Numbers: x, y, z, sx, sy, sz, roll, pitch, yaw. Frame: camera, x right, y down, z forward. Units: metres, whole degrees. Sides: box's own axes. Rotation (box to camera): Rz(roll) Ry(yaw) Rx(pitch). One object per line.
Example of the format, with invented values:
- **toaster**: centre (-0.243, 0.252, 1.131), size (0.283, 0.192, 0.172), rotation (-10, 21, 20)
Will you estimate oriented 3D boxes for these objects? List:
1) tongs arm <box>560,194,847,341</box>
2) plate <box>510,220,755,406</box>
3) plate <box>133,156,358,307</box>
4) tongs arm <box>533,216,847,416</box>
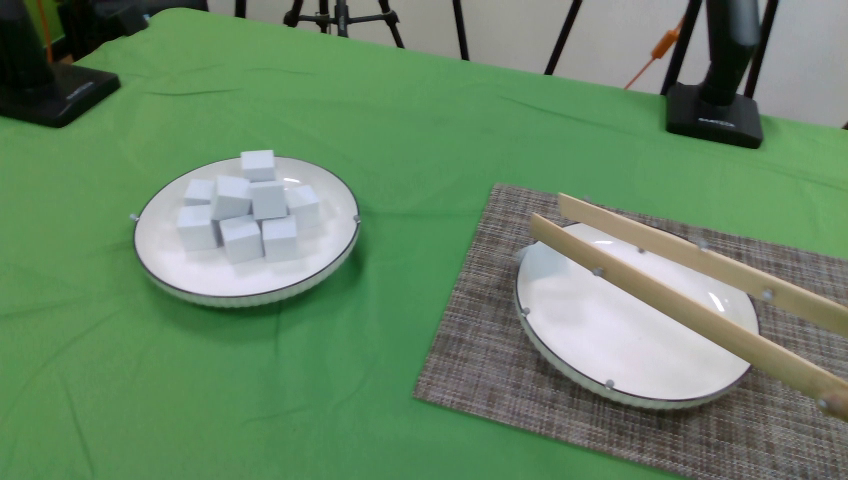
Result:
- **tongs arm**: centre (0.242, 0.056, 0.388), size (0.381, 0.027, 0.050), rotation (27, 53, 32)
- **plate**: centre (0.179, 0.061, 0.539), size (0.208, 0.039, 0.205), rotation (2, 43, -2)
- **plate**: centre (-0.169, -0.008, 0.593), size (0.209, 0.038, 0.207), rotation (3, 42, -2)
- **tongs arm**: centre (0.225, 0.070, 0.378), size (0.384, 0.028, 0.028), rotation (31, 52, 34)
